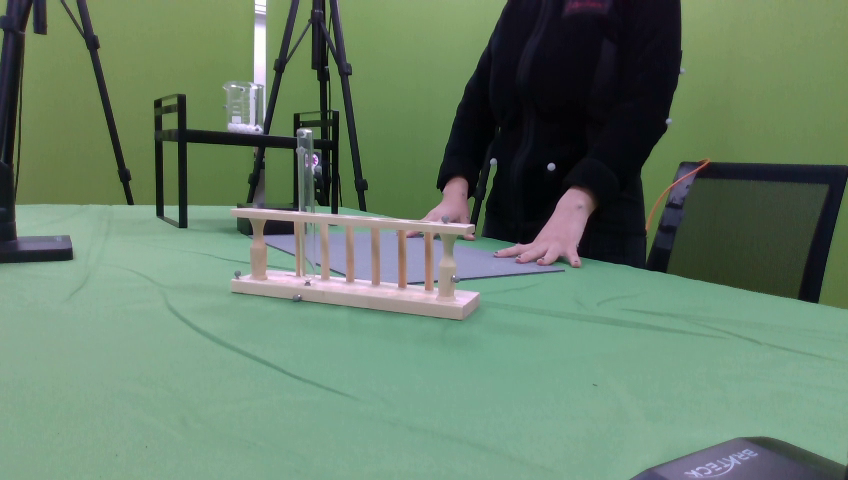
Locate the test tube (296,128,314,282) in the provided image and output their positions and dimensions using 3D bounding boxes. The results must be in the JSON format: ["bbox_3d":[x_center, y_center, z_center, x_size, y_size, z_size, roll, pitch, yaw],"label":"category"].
[{"bbox_3d":[-0.116,-0.033,0.593,0.017,0.150,0.017,0,6,0],"label":"test tube"}]

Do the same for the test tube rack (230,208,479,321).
[{"bbox_3d":[-0.069,0.017,0.598,0.242,0.085,0.067,5,8,18],"label":"test tube rack"}]

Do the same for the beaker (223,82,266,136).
[{"bbox_3d":[-0.362,-0.262,1.214,0.084,0.100,0.074,2,7,-1],"label":"beaker"}]
